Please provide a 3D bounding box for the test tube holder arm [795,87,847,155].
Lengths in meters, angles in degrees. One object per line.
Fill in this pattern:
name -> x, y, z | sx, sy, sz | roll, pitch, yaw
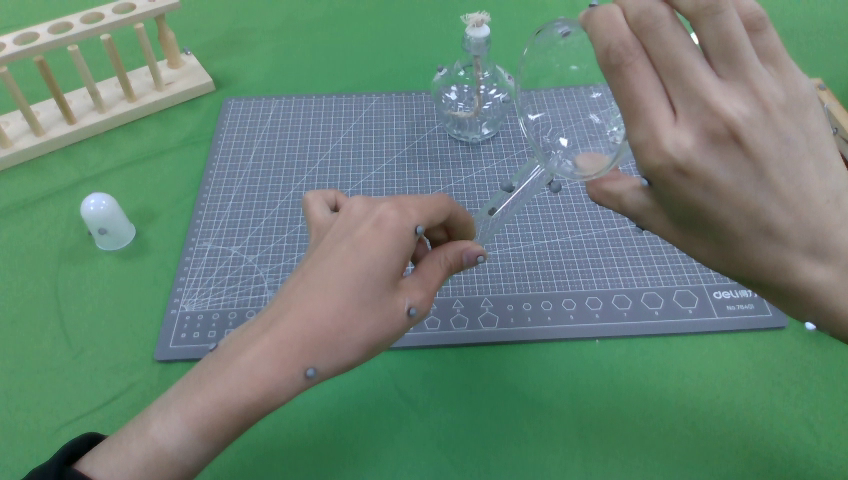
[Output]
test tube holder arm -> 0.335, -0.067, 0.465 | 0.015, 0.013, 0.176 | 1, 47, -7

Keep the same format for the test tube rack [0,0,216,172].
test tube rack -> -0.333, -0.148, 0.568 | 0.242, 0.086, 0.066 | -28, 55, -21

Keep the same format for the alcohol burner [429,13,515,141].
alcohol burner -> 0.044, -0.147, 0.538 | 0.078, 0.120, 0.077 | 0, 51, 0

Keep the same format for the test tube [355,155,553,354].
test tube -> 0.012, 0.012, 0.332 | 0.150, 0.017, 0.017 | -46, 52, 17

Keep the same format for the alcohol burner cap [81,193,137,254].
alcohol burner cap -> -0.255, -0.016, 0.484 | 0.034, 0.048, 0.033 | 0, 49, 1

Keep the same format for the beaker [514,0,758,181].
beaker -> 0.106, -0.078, 0.301 | 0.100, 0.084, 0.073 | -22, 61, -25

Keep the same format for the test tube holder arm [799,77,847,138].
test tube holder arm -> 0.333, -0.104, 0.491 | 0.015, 0.010, 0.087 | 1, 48, -7
